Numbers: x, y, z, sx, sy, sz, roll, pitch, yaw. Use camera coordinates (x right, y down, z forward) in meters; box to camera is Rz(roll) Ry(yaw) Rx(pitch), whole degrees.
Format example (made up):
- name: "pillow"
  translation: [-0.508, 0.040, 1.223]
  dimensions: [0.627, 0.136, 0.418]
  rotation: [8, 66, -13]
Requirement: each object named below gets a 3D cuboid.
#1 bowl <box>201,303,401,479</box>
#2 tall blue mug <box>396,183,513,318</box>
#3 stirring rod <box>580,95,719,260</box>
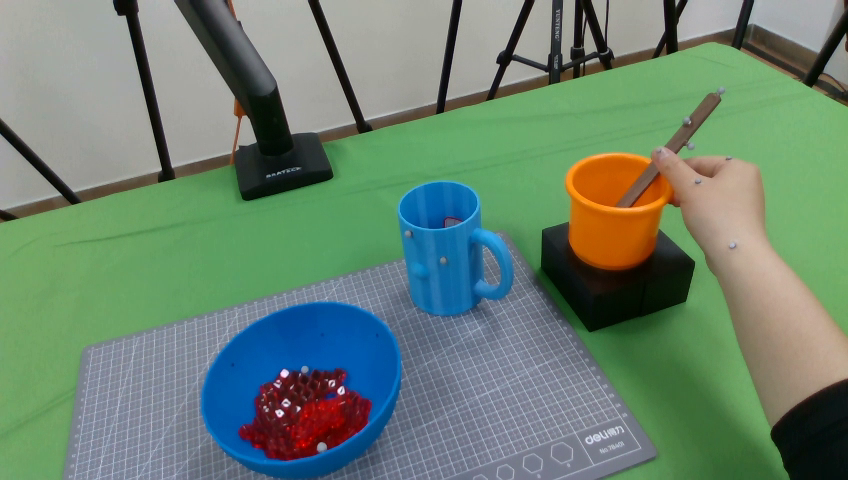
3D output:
- name: "bowl"
  translation: [-0.088, 0.130, 0.479]
  dimensions: [0.151, 0.077, 0.150]
  rotation: [-4, 40, 4]
- name: "tall blue mug"
  translation: [0.033, 0.012, 0.578]
  dimensions: [0.107, 0.109, 0.077]
  rotation: [2, 40, 11]
- name: "stirring rod"
  translation: [0.197, -0.053, 0.535]
  dimensions: [0.176, 0.006, 0.014]
  rotation: [-53, 41, 12]
